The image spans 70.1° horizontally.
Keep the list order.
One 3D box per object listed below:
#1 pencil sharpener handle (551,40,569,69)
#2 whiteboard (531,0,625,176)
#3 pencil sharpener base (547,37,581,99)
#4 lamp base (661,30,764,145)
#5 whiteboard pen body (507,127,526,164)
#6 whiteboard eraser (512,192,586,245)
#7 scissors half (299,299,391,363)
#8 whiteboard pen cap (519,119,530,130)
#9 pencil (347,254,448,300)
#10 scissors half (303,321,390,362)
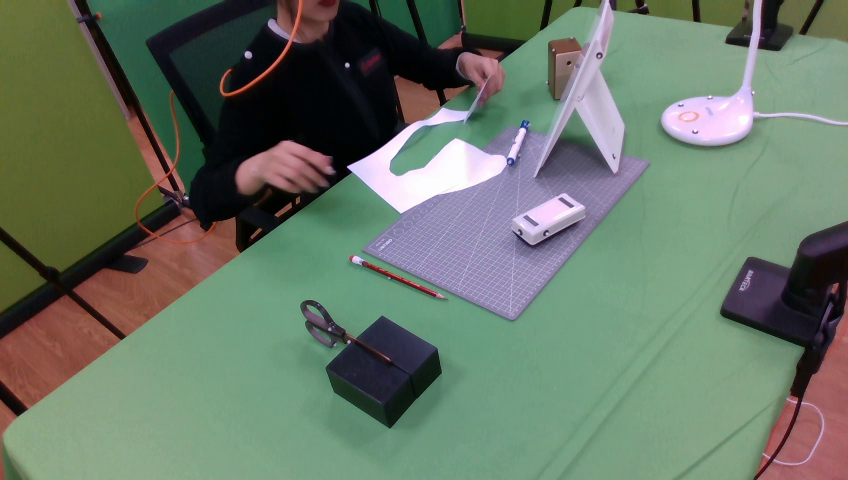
[{"bbox_3d":[0.291,-0.409,1.320,0.036,0.068,0.030,1,40,-6],"label":"pencil sharpener handle"},{"bbox_3d":[0.320,-0.258,1.050,0.144,0.306,0.217,22,45,5],"label":"whiteboard"},{"bbox_3d":[0.299,-0.368,1.290,0.061,0.107,0.076,-8,40,2],"label":"pencil sharpener base"},{"bbox_3d":[0.535,-0.287,1.096,0.179,0.181,0.159,-10,40,-4],"label":"lamp base"},{"bbox_3d":[0.181,-0.189,1.162,0.017,0.017,0.140,7,42,19],"label":"whiteboard pen body"},{"bbox_3d":[0.199,-0.032,0.962,0.113,0.042,0.055,-27,43,-20],"label":"whiteboard eraser"},{"bbox_3d":[-0.107,0.120,0.794,0.174,0.040,0.013,26,44,32],"label":"scissors half"},{"bbox_3d":[0.199,-0.226,1.204,0.018,0.018,0.033,7,41,18],"label":"whiteboard pen cap"},{"bbox_3d":[-0.044,0.058,0.933,0.192,0.012,0.012,22,49,28],"label":"pencil"},{"bbox_3d":[-0.105,0.138,0.803,0.174,0.040,0.013,8,27,44],"label":"scissors half"}]
